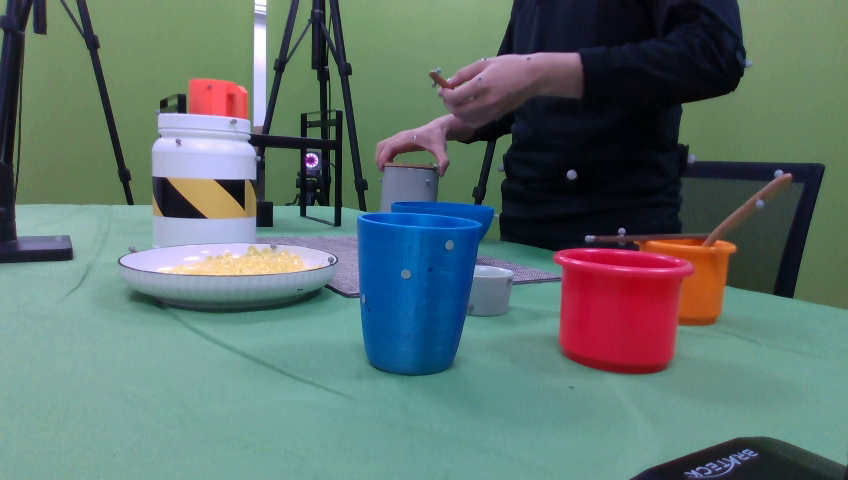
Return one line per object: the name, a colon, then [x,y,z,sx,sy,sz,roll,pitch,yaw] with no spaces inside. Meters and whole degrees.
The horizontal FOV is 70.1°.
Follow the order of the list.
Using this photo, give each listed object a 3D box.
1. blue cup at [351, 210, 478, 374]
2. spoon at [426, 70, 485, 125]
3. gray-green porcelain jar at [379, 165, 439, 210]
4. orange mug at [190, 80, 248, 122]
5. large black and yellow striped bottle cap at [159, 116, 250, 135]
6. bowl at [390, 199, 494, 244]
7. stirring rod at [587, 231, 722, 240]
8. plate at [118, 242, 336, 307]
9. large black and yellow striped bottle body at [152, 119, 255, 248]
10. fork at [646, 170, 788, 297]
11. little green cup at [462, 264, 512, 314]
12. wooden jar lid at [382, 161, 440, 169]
blue cup: [-0.009,0.034,0.414,0.093,0.100,0.092,4,8,0]
spoon: [0.045,-0.209,0.899,0.041,0.021,0.194,4,-12,27]
gray-green porcelain jar: [-0.030,-0.073,1.128,0.106,0.126,0.106,5,4,0]
orange mug: [-0.394,-0.257,1.173,0.126,0.100,0.084,1,6,25]
large black and yellow striped bottle cap: [-0.292,-0.153,0.810,0.115,0.019,0.115,3,9,0]
bowl: [0.024,-0.015,0.871,0.151,0.077,0.151,3,7,0]
stirring rod: [0.227,-0.005,0.586,0.177,0.006,0.014,-1,6,-28]
plate: [-0.194,0.033,0.615,0.209,0.038,0.209,2,7,0]
large black and yellow striped bottle body: [-0.296,-0.070,0.819,0.131,0.184,0.130,2,7,0]
fork: [0.256,0.004,0.543,0.028,0.018,0.207,3,-36,-10]
little green cup: [0.053,0.047,0.579,0.061,0.038,0.061,3,8,0]
wooden jar lid: [-0.024,-0.135,1.124,0.108,0.020,0.108,4,5,0]
